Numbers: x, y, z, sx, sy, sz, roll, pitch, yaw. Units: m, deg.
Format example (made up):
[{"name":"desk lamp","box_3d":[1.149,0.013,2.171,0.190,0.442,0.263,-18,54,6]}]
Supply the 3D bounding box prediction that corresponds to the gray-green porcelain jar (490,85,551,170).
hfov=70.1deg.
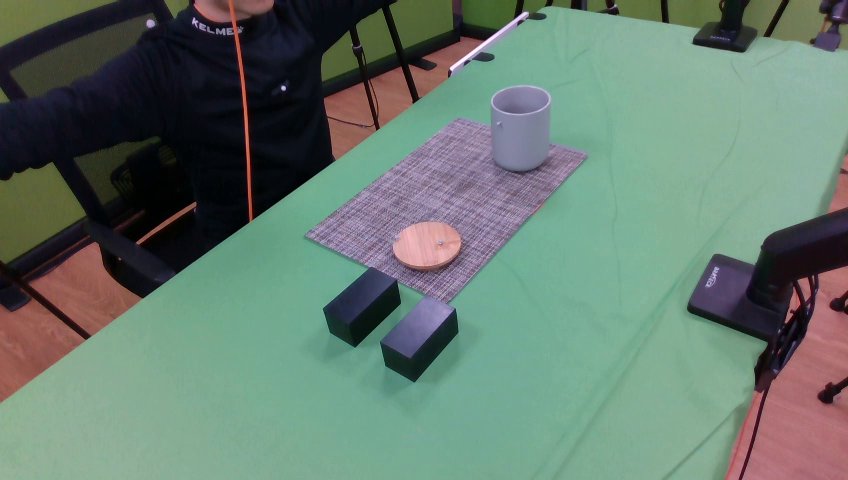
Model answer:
[{"name":"gray-green porcelain jar","box_3d":[0.173,-0.198,1.087,0.106,0.127,0.105,-4,41,4]}]

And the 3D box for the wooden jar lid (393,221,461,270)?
[{"name":"wooden jar lid","box_3d":[0.005,0.010,0.952,0.108,0.021,0.108,-4,40,4]}]
